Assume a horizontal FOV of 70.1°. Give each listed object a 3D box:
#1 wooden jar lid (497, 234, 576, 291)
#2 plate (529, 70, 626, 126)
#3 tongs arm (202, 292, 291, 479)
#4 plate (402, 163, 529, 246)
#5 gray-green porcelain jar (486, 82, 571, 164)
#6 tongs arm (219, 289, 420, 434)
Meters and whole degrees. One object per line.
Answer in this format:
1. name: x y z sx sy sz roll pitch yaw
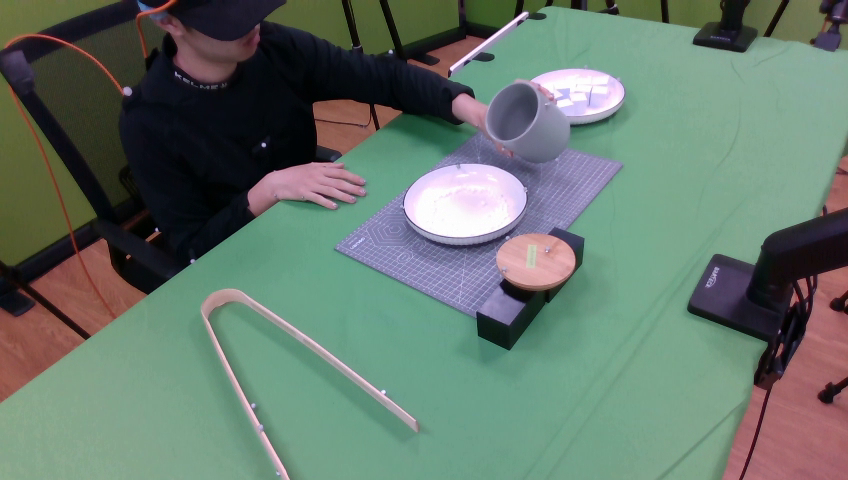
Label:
1. wooden jar lid: 0.155 0.032 0.834 0.108 0.021 0.108 -5 40 5
2. plate: 0.308 -0.289 1.251 0.207 0.039 0.206 -4 40 4
3. tongs arm: -0.216 0.187 0.772 0.051 0.026 0.381 -27 43 -24
4. plate: 0.069 -0.056 1.008 0.209 0.038 0.208 -4 40 4
5. gray-green porcelain jar: 0.183 -0.193 1.029 0.105 0.128 0.105 -12 69 36
6. tongs arm: -0.152 0.151 0.812 0.384 0.028 0.028 26 53 33
